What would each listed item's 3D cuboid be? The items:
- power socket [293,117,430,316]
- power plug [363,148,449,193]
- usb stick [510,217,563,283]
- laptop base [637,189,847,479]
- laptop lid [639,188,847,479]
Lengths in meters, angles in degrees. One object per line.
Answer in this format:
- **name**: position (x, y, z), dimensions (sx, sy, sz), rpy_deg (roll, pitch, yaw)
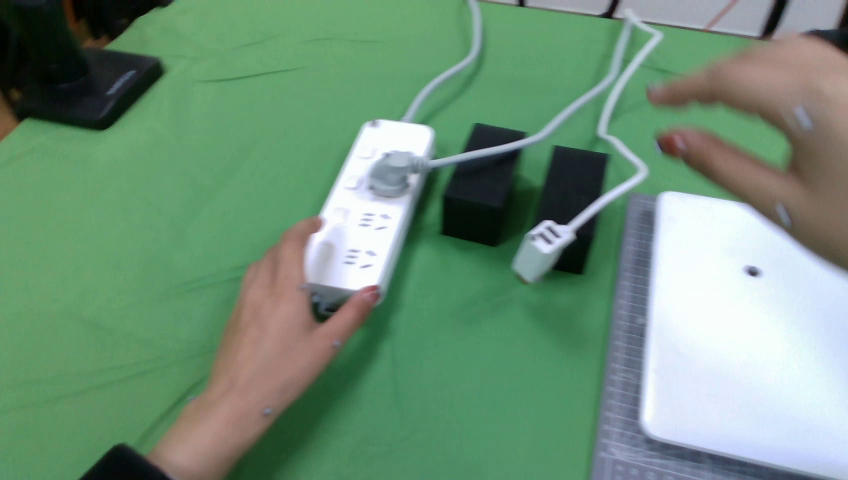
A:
- **power socket**: position (-0.049, -0.033, 0.539), dimensions (0.072, 0.033, 0.225), rpy_deg (10, 50, 8)
- **power plug**: position (-0.019, -0.050, 0.524), dimensions (0.072, 0.053, 0.035), rpy_deg (18, 52, 15)
- **usb stick**: position (0.083, 0.011, 0.458), dimensions (0.027, 0.059, 0.021), rpy_deg (-36, 68, -29)
- **laptop base**: position (0.343, 0.079, 0.449), dimensions (0.353, 0.023, 0.234), rpy_deg (11, 54, 10)
- **laptop lid**: position (0.342, 0.073, 0.438), dimensions (0.356, 0.013, 0.240), rpy_deg (13, 53, 11)
